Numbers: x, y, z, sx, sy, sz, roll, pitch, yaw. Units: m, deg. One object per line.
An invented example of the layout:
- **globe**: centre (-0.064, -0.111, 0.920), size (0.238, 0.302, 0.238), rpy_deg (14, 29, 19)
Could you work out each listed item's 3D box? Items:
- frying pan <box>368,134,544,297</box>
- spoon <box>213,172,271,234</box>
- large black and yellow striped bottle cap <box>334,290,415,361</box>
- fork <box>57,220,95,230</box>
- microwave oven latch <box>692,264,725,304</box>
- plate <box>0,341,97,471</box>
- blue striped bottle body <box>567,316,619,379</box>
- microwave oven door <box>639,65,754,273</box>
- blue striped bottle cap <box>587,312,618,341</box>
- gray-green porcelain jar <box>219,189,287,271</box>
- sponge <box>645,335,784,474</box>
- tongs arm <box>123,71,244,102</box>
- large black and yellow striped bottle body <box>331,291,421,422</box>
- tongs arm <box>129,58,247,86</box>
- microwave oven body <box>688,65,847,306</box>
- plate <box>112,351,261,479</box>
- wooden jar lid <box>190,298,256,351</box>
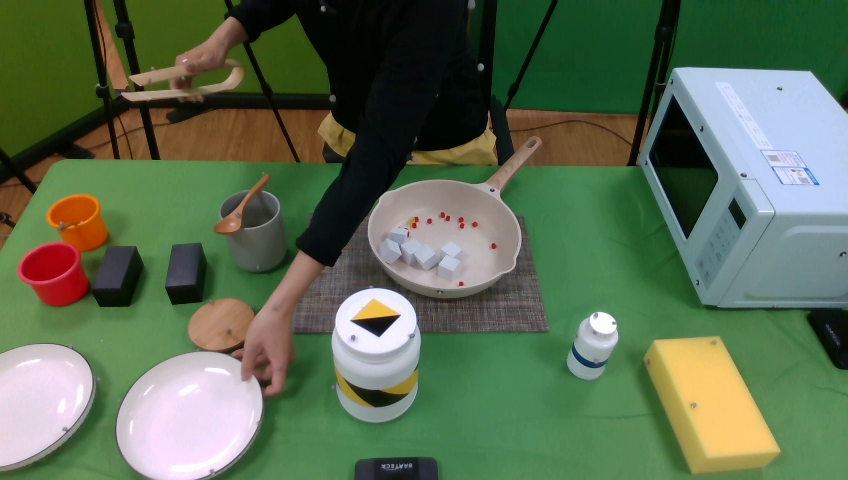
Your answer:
- **frying pan**: centre (0.104, -0.069, 1.205), size (0.305, 0.103, 0.487), rpy_deg (32, 61, 23)
- **spoon**: centre (-0.312, -0.069, 1.069), size (0.041, 0.022, 0.193), rpy_deg (10, 43, 10)
- **large black and yellow striped bottle cap**: centre (-0.069, 0.117, 0.850), size (0.115, 0.019, 0.114), rpy_deg (2, 45, -2)
- **fork**: centre (-0.624, -0.027, 1.086), size (0.028, 0.207, 0.018), rpy_deg (-2, 91, -17)
- **microwave oven latch**: centre (0.522, 0.081, 1.116), size (0.030, 0.029, 0.078), rpy_deg (1, 46, -2)
- **plate**: centre (-0.599, 0.247, 0.904), size (0.209, 0.038, 0.208), rpy_deg (2, 47, -2)
- **blue striped bottle body**: centre (0.276, 0.169, 0.984), size (0.063, 0.121, 0.062), rpy_deg (2, 46, -2)
- **microwave oven door**: centre (0.522, -0.147, 1.193), size (0.039, 0.245, 0.353), rpy_deg (0, 47, -3)
- **blue striped bottle cap**: centre (0.279, 0.134, 0.947), size (0.044, 0.021, 0.044), rpy_deg (2, 45, -2)
- **gray-green porcelain jar**: centre (-0.309, -0.014, 1.113), size (0.106, 0.127, 0.105), rpy_deg (2, 46, -2)
- **sponge**: centre (0.449, 0.253, 0.956), size (0.118, 0.061, 0.205), rpy_deg (-4, 46, -7)
- **tongs arm**: centre (-0.439, -0.290, 1.146), size (0.028, 0.028, 0.386), rpy_deg (28, 21, -1)
- **large black and yellow striped bottle body**: centre (-0.071, 0.175, 0.911), size (0.131, 0.185, 0.130), rpy_deg (2, 47, -2)
- **tongs arm**: centre (-0.428, -0.307, 1.138), size (0.026, 0.051, 0.383), rpy_deg (31, 26, -2)
- **microwave oven body**: centre (0.669, -0.111, 1.176), size (0.326, 0.261, 0.439), rpy_deg (0, 46, -3)
- **plate**: centre (-0.346, 0.265, 0.900), size (0.208, 0.039, 0.206), rpy_deg (2, 50, -3)
- **wooden jar lid**: centre (-0.342, 0.146, 1.034), size (0.108, 0.021, 0.107), rpy_deg (2, 44, -2)
